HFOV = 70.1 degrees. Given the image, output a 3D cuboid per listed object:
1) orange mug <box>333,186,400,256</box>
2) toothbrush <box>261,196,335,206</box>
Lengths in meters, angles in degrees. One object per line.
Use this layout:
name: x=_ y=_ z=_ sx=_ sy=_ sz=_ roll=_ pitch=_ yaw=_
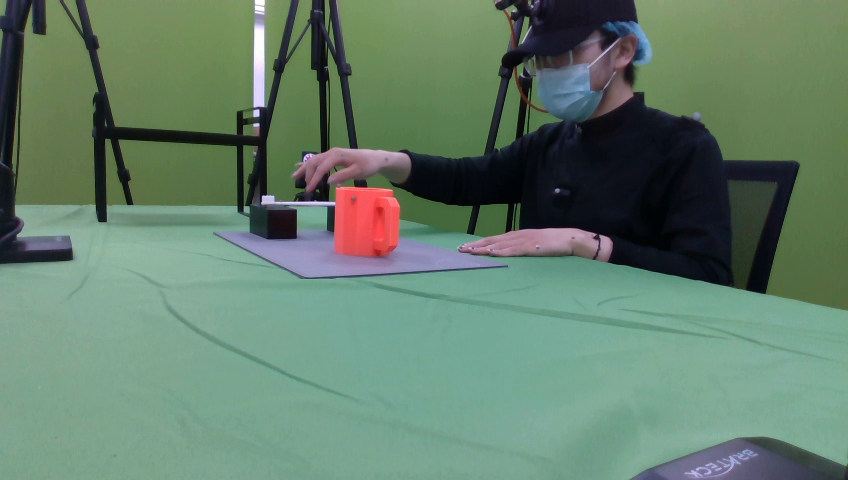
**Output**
orange mug: x=-0.080 y=-0.029 z=0.888 sx=0.084 sy=0.100 sz=0.125 roll=-3 pitch=5 yaw=-40
toothbrush: x=-0.200 y=-0.068 z=1.073 sx=0.183 sy=0.016 sz=0.014 roll=-1 pitch=-4 yaw=-34
